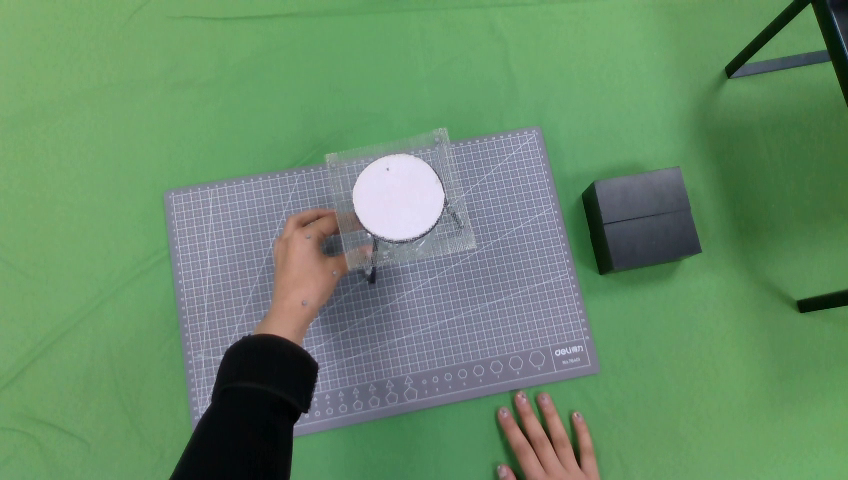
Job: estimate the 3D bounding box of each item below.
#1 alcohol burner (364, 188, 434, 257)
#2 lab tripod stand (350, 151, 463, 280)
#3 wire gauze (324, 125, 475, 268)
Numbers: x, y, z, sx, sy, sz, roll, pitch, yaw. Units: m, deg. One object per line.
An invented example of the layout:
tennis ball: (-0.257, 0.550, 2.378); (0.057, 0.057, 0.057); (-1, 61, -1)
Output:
alcohol burner: (-0.027, -0.022, 0.647); (0.078, 0.119, 0.077); (0, 80, 0)
lab tripod stand: (-0.030, -0.033, 0.639); (0.148, 0.132, 0.148); (0, 79, 0)
wire gauze: (-0.024, -0.041, 0.572); (0.125, 0.011, 0.121); (-11, 79, -3)
